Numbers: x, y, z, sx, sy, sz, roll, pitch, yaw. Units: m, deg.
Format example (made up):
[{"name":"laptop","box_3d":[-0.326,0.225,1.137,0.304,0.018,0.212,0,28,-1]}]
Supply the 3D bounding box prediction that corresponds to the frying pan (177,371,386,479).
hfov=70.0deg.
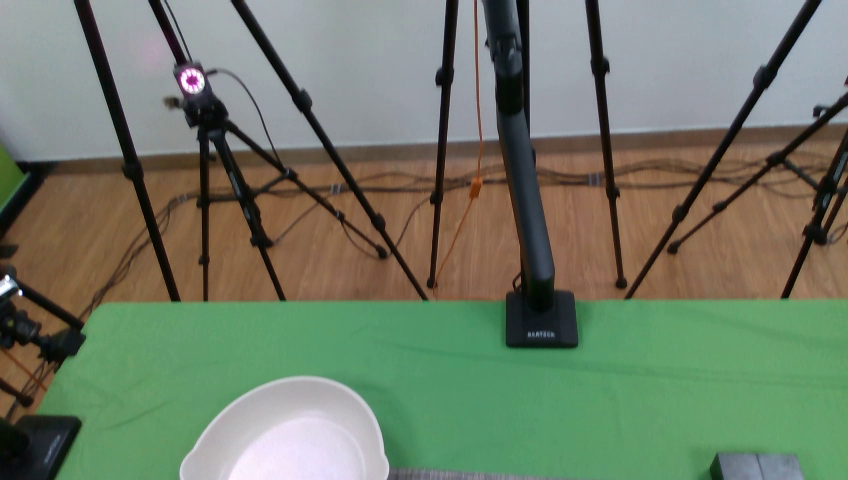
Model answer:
[{"name":"frying pan","box_3d":[-0.213,0.399,0.800,0.306,0.104,0.483,-1,39,9]}]
